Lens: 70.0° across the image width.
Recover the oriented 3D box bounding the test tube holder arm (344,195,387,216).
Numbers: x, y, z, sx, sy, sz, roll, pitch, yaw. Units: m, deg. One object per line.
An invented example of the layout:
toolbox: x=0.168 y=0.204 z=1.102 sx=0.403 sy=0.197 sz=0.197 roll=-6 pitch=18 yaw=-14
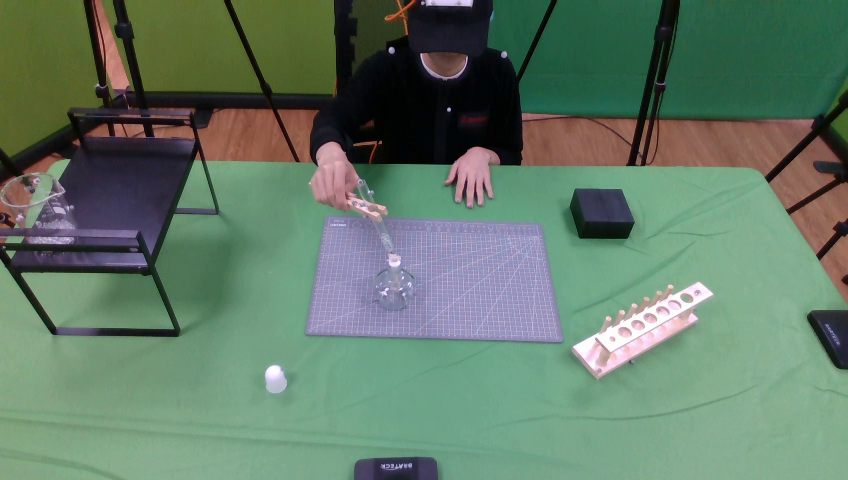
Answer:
test tube holder arm: x=-0.095 y=-0.055 z=0.965 sx=0.087 sy=0.015 sz=0.010 roll=17 pitch=51 yaw=32

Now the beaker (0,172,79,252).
beaker: x=-0.557 y=-0.038 z=0.889 sx=0.084 sy=0.101 sz=0.073 roll=-3 pitch=46 yaw=-7

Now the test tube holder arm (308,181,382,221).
test tube holder arm: x=-0.133 y=-0.065 z=0.988 sx=0.177 sy=0.015 sz=0.013 roll=24 pitch=55 yaw=37

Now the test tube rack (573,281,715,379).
test tube rack: x=0.378 y=0.140 z=1.038 sx=0.242 sy=0.085 sz=0.066 roll=-22 pitch=51 yaw=-23

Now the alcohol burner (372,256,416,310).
alcohol burner: x=-0.052 y=0.068 z=1.057 sx=0.078 sy=0.120 sz=0.077 roll=1 pitch=48 yaw=-1

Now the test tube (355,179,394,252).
test tube: x=-0.076 y=-0.036 z=0.959 sx=0.017 sy=0.151 sz=0.017 roll=-12 pitch=42 yaw=11

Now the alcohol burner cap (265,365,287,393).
alcohol burner cap: x=-0.236 y=0.216 z=0.956 sx=0.034 sy=0.048 sz=0.033 roll=3 pitch=45 yaw=-3
